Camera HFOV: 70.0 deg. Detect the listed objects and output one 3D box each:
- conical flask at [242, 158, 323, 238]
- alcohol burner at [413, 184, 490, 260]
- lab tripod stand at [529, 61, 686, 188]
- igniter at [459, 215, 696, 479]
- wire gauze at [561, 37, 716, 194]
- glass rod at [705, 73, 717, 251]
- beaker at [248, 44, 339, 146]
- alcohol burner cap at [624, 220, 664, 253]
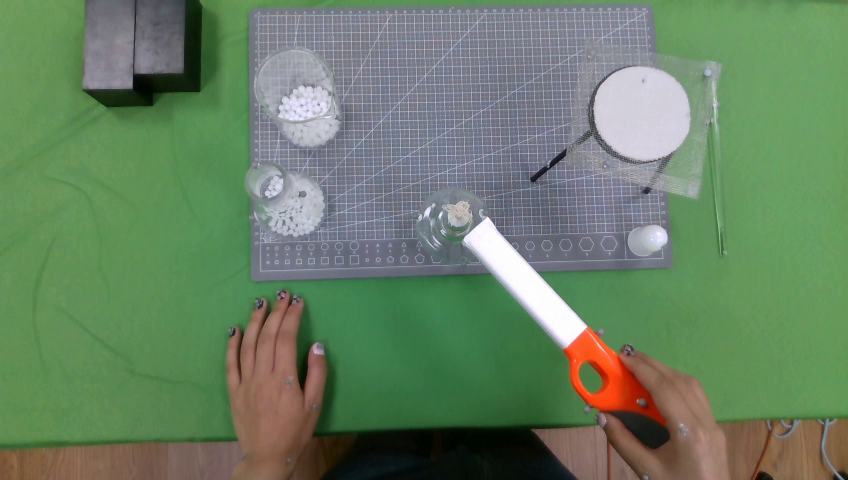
[{"bbox_3d":[-0.141,-0.045,0.585,0.075,0.122,0.075,0,83,-2],"label":"conical flask"},{"bbox_3d":[0.028,-0.020,0.595,0.078,0.119,0.077,0,83,0],"label":"alcohol burner"},{"bbox_3d":[0.183,-0.105,0.600,0.148,0.131,0.148,0,85,-2],"label":"lab tripod stand"},{"bbox_3d":[0.133,0.090,0.519,0.057,0.025,0.276,-41,86,-13],"label":"igniter"},{"bbox_3d":[0.189,-0.112,0.534,0.125,0.011,0.121,12,85,0],"label":"wire gauze"},{"bbox_3d":[0.318,-0.087,0.670,0.008,0.008,0.199,0,86,-3],"label":"glass rod"},{"bbox_3d":[-0.122,-0.138,0.607,0.084,0.100,0.074,34,83,1],"label":"beaker"},{"bbox_3d":[0.234,-0.006,0.638,0.034,0.048,0.034,0,83,-3],"label":"alcohol burner cap"}]
